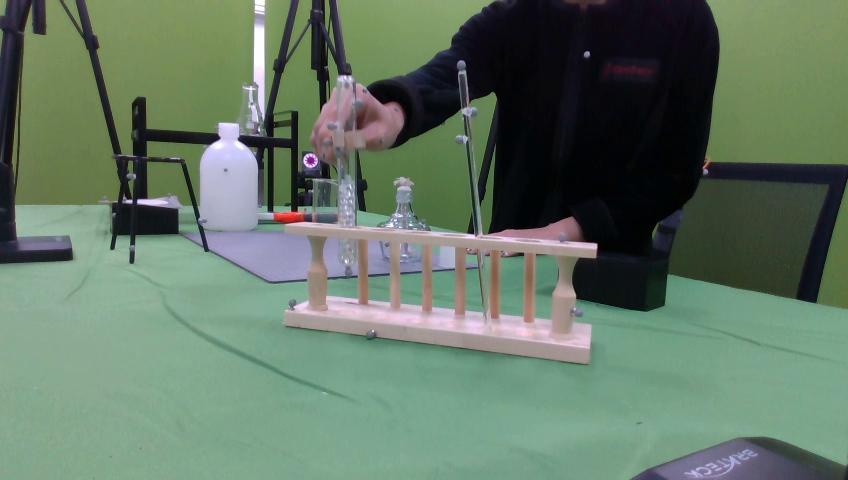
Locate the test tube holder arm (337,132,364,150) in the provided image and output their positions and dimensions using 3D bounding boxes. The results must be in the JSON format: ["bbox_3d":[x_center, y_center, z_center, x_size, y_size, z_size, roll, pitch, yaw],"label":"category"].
[{"bbox_3d":[-0.064,-0.081,0.497,0.010,0.015,0.087,3,7,-20],"label":"test tube holder arm"}]

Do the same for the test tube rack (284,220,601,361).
[{"bbox_3d":[0.013,0.032,0.482,0.242,0.085,0.067,4,7,16],"label":"test tube rack"}]

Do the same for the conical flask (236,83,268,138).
[{"bbox_3d":[-0.400,-0.298,1.396,0.075,0.122,0.075,2,8,0],"label":"conical flask"}]

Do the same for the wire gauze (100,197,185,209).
[{"bbox_3d":[-0.469,-0.062,1.008,0.126,0.011,0.121,-2,8,-25],"label":"wire gauze"}]

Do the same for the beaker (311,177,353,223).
[{"bbox_3d":[-0.167,-0.064,1.106,0.074,0.100,0.083,-2,9,-27],"label":"beaker"}]

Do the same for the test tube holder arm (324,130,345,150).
[{"bbox_3d":[-0.081,-0.088,0.538,0.013,0.015,0.178,5,7,-14],"label":"test tube holder arm"}]

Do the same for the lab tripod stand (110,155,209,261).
[{"bbox_3d":[-0.361,-0.046,0.806,0.148,0.131,0.148,2,5,0],"label":"lab tripod stand"}]

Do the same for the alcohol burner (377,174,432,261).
[{"bbox_3d":[-0.027,-0.031,0.838,0.078,0.119,0.078,0,6,0],"label":"alcohol burner"}]

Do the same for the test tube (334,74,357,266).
[{"bbox_3d":[-0.062,-0.054,0.476,0.017,0.150,0.017,0,5,0],"label":"test tube"}]

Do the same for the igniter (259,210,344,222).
[{"bbox_3d":[-0.303,-0.049,1.258,0.278,0.025,0.057,-2,-2,-28],"label":"igniter"}]

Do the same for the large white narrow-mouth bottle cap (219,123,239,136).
[{"bbox_3d":[-0.356,-0.201,1.104,0.038,0.024,0.037,2,8,0],"label":"large white narrow-mouth bottle cap"}]

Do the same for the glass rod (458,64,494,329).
[{"bbox_3d":[0.039,-0.029,0.450,0.008,0.199,0.008,-7,9,1],"label":"glass rod"}]

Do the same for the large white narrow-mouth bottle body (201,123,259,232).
[{"bbox_3d":[-0.358,-0.116,1.116,0.102,0.194,0.102,2,8,0],"label":"large white narrow-mouth bottle body"}]

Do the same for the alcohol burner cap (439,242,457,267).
[{"bbox_3d":[0.038,0.011,0.807,0.034,0.048,0.034,3,8,0],"label":"alcohol burner cap"}]
